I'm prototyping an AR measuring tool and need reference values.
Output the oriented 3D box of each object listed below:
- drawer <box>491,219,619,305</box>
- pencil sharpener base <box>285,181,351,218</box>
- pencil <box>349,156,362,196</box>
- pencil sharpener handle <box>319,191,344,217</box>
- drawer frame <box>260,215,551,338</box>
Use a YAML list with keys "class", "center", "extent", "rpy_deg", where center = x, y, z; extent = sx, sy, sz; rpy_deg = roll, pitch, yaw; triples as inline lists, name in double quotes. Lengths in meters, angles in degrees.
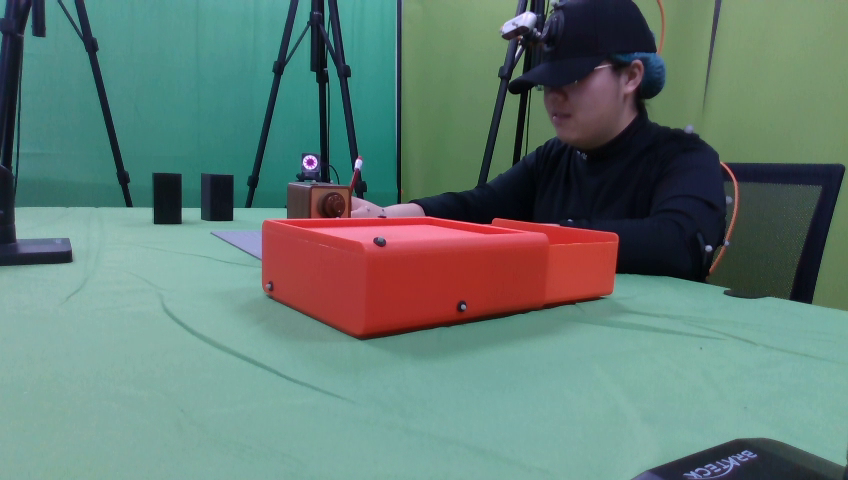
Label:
- class: "drawer"
  center: [0.071, 0.021, 0.669]
  extent: [0.213, 0.073, 0.193]
  rpy_deg: [-3, 10, -39]
- class: "pencil sharpener base"
  center: [-0.139, -0.020, 0.789]
  extent: [0.062, 0.107, 0.076]
  rpy_deg: [-2, 9, -36]
- class: "pencil"
  center: [-0.133, -0.073, 1.048]
  extent: [0.012, 0.194, 0.012]
  rpy_deg: [7, -35, 6]
- class: "pencil sharpener handle"
  center: [-0.107, -0.026, 0.747]
  extent: [0.036, 0.067, 0.030]
  rpy_deg: [-5, 11, -36]
- class: "drawer frame"
  center: [-0.021, 0.024, 0.595]
  extent: [0.215, 0.082, 0.200]
  rpy_deg: [-4, 10, -38]
